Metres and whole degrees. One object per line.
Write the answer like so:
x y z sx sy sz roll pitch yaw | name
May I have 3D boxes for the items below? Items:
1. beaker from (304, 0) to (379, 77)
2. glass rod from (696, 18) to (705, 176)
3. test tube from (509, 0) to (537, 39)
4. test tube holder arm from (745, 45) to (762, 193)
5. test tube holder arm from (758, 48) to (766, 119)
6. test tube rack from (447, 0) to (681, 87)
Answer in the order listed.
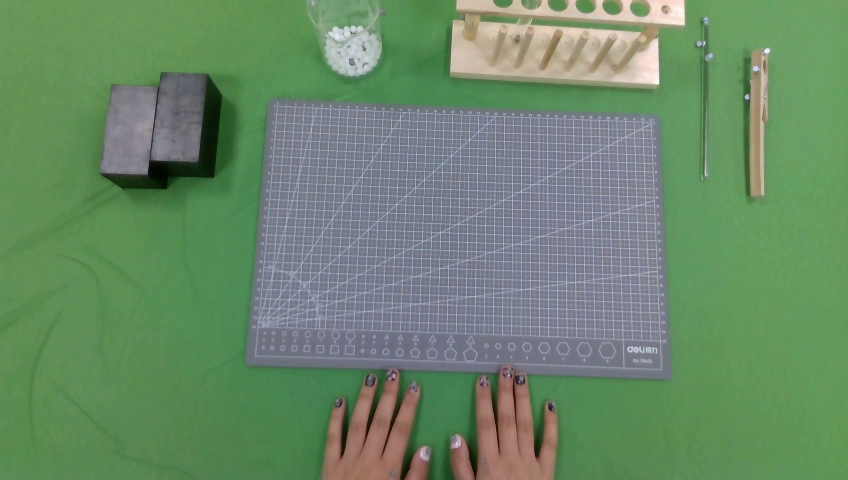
-0.086 -0.228 0.662 0.074 0.100 0.083 5 79 -1 | beaker
0.324 -0.170 0.711 0.008 0.008 0.199 7 78 -1 | glass rod
0.113 -0.258 0.632 0.017 0.151 0.017 2 74 -6 | test tube
0.380 -0.140 0.699 0.013 0.015 0.177 15 77 -29 | test tube holder arm
0.391 -0.183 0.710 0.010 0.015 0.087 15 77 -28 | test tube holder arm
0.150 -0.227 0.677 0.242 0.085 0.066 3 78 -1 | test tube rack
